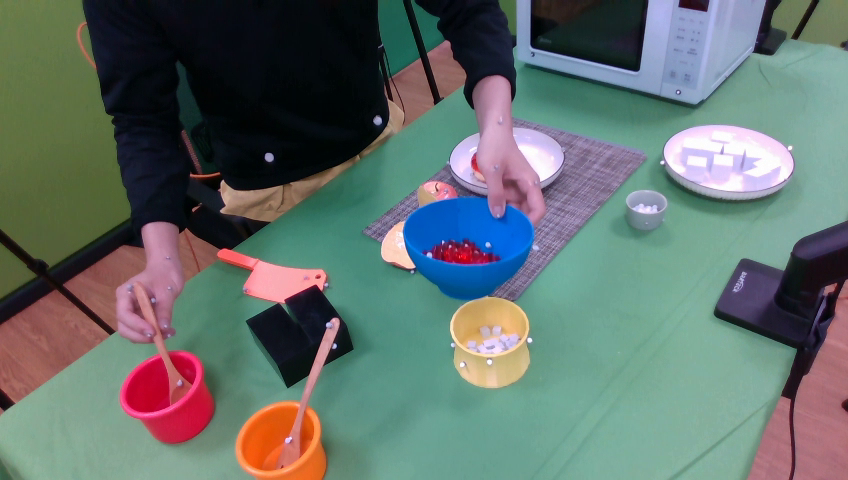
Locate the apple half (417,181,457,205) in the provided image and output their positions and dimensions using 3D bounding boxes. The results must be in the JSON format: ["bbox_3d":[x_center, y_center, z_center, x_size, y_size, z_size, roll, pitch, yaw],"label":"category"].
[{"bbox_3d":[0.030,-0.059,0.995,0.053,0.075,0.080,-23,39,-23],"label":"apple half"}]

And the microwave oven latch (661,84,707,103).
[{"bbox_3d":[0.516,-0.296,1.204,0.078,0.029,0.030,25,50,33],"label":"microwave oven latch"}]

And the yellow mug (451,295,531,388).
[{"bbox_3d":[0.086,0.120,0.786,0.100,0.064,0.130,-7,39,1],"label":"yellow mug"}]

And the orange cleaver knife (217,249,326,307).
[{"bbox_3d":[-0.248,0.059,0.945,0.210,0.012,0.077,13,50,20],"label":"orange cleaver knife"}]

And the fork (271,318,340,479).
[{"bbox_3d":[-0.132,0.186,0.676,0.028,0.019,0.207,18,90,28],"label":"fork"}]

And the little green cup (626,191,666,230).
[{"bbox_3d":[0.352,-0.046,0.963,0.061,0.039,0.061,-4,40,4],"label":"little green cup"}]

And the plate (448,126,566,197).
[{"bbox_3d":[0.150,-0.138,1.096,0.209,0.038,0.208,-4,40,4],"label":"plate"}]

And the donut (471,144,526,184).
[{"bbox_3d":[0.133,-0.138,1.082,0.099,0.048,0.098,-5,38,5],"label":"donut"}]

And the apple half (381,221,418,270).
[{"bbox_3d":[-0.025,0.012,0.946,0.081,0.033,0.081,-5,73,16],"label":"apple half"}]

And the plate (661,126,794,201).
[{"bbox_3d":[0.513,-0.127,1.035,0.207,0.039,0.206,-4,40,4],"label":"plate"}]

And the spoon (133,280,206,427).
[{"bbox_3d":[-0.318,0.139,0.748,0.041,0.194,0.021,-21,5,1],"label":"spoon"}]

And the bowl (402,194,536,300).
[{"bbox_3d":[0.051,0.016,0.702,0.151,0.077,0.150,-1,33,1],"label":"bowl"}]

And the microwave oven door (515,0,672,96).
[{"bbox_3d":[0.343,-0.455,1.259,0.353,0.245,0.039,26,51,33],"label":"microwave oven door"}]

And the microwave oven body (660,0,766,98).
[{"bbox_3d":[0.472,-0.513,1.317,0.438,0.261,0.327,26,51,34],"label":"microwave oven body"}]
